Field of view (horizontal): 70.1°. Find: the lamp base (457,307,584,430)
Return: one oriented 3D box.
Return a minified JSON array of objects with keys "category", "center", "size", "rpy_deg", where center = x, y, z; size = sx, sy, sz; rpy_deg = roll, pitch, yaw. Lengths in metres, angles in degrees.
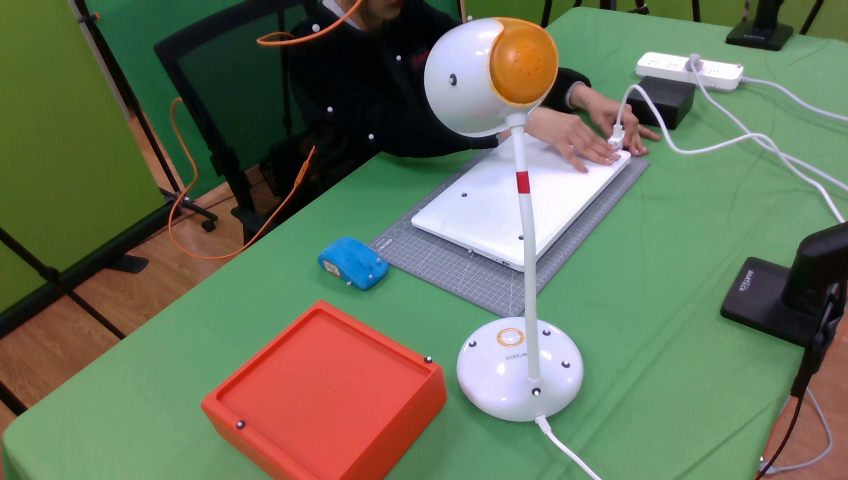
[{"category":"lamp base","center":[0.115,0.108,0.713],"size":[0.161,0.181,0.178],"rpy_deg":[-16,43,-8]}]

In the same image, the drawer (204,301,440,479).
[{"category":"drawer","center":[-0.119,0.193,0.735],"size":[0.210,0.073,0.195],"rpy_deg":[23,49,32]}]

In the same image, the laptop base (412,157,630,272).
[{"category":"laptop base","center":[0.176,-0.084,1.056],"size":[0.233,0.023,0.355],"rpy_deg":[21,48,36]}]

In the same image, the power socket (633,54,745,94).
[{"category":"power socket","center":[0.563,-0.358,1.295],"size":[0.225,0.033,0.072],"rpy_deg":[21,50,30]}]

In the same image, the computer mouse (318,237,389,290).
[{"category":"computer mouse","center":[-0.113,0.033,0.959],"size":[0.116,0.041,0.063],"rpy_deg":[28,51,31]}]

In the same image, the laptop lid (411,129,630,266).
[{"category":"laptop lid","center":[0.172,-0.093,1.049],"size":[0.239,0.013,0.358],"rpy_deg":[24,49,36]}]

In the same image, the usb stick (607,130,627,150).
[{"category":"usb stick","center":[0.354,-0.178,1.114],"size":[0.021,0.027,0.059],"rpy_deg":[19,48,32]}]

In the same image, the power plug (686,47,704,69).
[{"category":"power plug","center":[0.564,-0.384,1.248],"size":[0.035,0.073,0.052],"rpy_deg":[23,71,15]}]

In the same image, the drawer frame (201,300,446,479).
[{"category":"drawer frame","center":[-0.117,0.193,0.733],"size":[0.212,0.083,0.202],"rpy_deg":[23,48,32]}]

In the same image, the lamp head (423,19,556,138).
[{"category":"lamp head","center":[0.068,-0.151,0.564],"size":[0.113,0.113,0.122],"rpy_deg":[-21,18,-13]}]
